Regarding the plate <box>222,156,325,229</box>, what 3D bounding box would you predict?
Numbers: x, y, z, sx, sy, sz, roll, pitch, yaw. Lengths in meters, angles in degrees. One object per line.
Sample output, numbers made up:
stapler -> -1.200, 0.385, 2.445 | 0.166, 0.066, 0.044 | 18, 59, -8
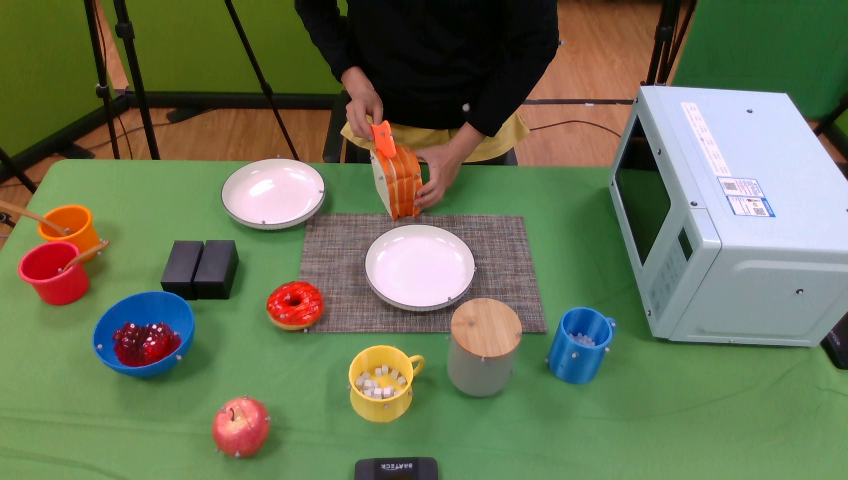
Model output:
plate -> -0.308, -0.095, 1.251 | 0.209, 0.038, 0.208 | 2, 46, -2

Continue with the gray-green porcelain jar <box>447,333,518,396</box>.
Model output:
gray-green porcelain jar -> 0.091, 0.178, 0.960 | 0.106, 0.127, 0.105 | 2, 46, -2

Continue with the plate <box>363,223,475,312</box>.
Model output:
plate -> -0.009, 0.054, 1.126 | 0.208, 0.039, 0.206 | 2, 46, -2

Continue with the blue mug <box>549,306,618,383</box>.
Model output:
blue mug -> 0.269, 0.167, 0.997 | 0.116, 0.106, 0.082 | -19, 51, -21

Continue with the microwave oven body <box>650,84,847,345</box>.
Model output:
microwave oven body -> 0.569, -0.054, 1.116 | 0.326, 0.261, 0.439 | 2, 46, -1

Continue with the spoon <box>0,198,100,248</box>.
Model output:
spoon -> -0.684, -0.035, 1.092 | 0.021, 0.195, 0.041 | -34, 41, 26

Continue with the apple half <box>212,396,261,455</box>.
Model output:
apple half -> -0.276, 0.276, 0.877 | 0.053, 0.075, 0.080 | -29, 58, -21

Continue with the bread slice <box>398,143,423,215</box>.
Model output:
bread slice -> -0.028, -0.130, 1.240 | 0.019, 0.132, 0.104 | -15, 48, -16

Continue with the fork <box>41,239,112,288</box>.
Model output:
fork -> -0.591, 0.040, 1.028 | 0.207, 0.019, 0.028 | -27, 37, 29

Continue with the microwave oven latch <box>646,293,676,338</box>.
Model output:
microwave oven latch -> 0.412, 0.133, 1.060 | 0.030, 0.029, 0.078 | 3, 46, 0

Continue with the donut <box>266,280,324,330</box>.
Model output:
donut -> -0.223, 0.112, 1.051 | 0.099, 0.048, 0.098 | 2, 46, -2

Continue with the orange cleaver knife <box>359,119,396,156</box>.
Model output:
orange cleaver knife -> -0.094, -0.208, 1.209 | 0.012, 0.077, 0.210 | -15, 19, -17

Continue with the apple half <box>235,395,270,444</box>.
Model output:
apple half -> -0.245, 0.259, 0.893 | 0.033, 0.082, 0.081 | -29, 55, -22

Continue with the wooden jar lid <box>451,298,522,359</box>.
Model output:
wooden jar lid -> 0.093, 0.135, 0.914 | 0.108, 0.021, 0.107 | 2, 49, -3

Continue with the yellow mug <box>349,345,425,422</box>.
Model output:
yellow mug -> -0.054, 0.217, 0.954 | 0.131, 0.064, 0.099 | -23, 52, -25

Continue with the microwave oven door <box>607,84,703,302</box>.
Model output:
microwave oven door -> 0.424, -0.096, 1.138 | 0.039, 0.245, 0.353 | 3, 46, -1

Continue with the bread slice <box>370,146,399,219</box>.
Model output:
bread slice -> -0.081, -0.124, 1.227 | 0.018, 0.135, 0.106 | -21, 48, -13

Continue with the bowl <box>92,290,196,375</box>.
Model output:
bowl -> -0.436, 0.161, 0.971 | 0.151, 0.077, 0.150 | 2, 46, -2
